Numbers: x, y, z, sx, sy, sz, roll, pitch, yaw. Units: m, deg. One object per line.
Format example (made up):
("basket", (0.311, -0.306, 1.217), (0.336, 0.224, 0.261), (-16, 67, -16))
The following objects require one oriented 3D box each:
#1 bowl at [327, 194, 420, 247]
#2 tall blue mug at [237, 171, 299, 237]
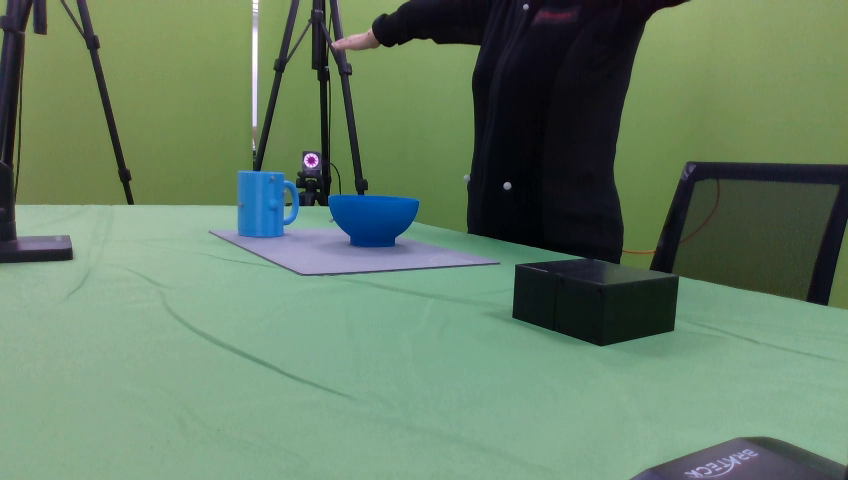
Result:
("bowl", (-0.083, -0.032, 0.987), (0.151, 0.077, 0.151), (2, 7, 0))
("tall blue mug", (-0.276, -0.065, 1.053), (0.077, 0.108, 0.107), (3, 7, 14))
